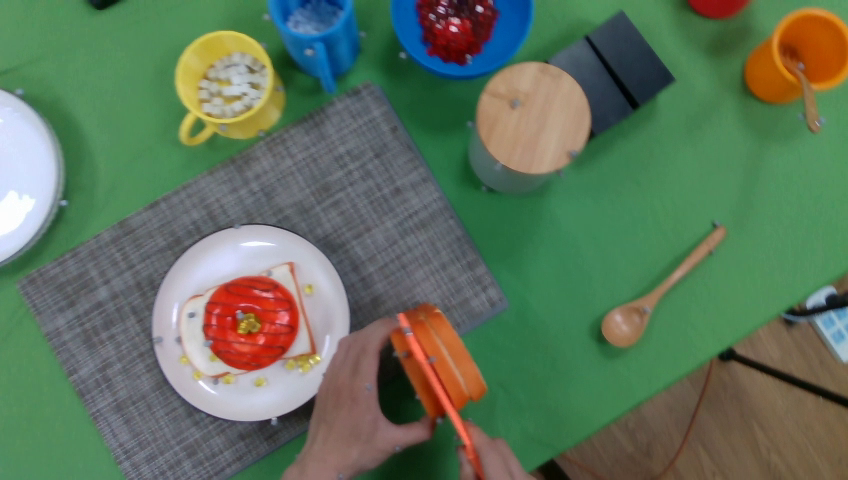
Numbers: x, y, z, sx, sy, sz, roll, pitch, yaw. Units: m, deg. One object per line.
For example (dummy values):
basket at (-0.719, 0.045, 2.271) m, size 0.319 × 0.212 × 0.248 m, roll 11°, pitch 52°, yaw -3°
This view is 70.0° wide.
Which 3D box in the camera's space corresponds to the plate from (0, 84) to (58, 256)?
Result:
plate at (-0.498, -0.073, 0.654) m, size 0.208 × 0.039 × 0.207 m, roll 0°, pitch 86°, yaw -2°

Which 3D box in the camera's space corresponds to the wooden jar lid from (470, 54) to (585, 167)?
wooden jar lid at (0.097, -0.121, 0.573) m, size 0.108 × 0.020 × 0.108 m, roll 0°, pitch 87°, yaw -5°

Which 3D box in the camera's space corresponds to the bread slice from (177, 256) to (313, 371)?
bread slice at (-0.196, 0.085, 0.653) m, size 0.131 × 0.019 × 0.104 m, roll -18°, pitch 86°, yaw -6°

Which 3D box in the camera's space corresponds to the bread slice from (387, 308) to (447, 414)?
bread slice at (-0.006, 0.119, 0.611) m, size 0.018 × 0.134 × 0.106 m, roll -28°, pitch 84°, yaw 1°

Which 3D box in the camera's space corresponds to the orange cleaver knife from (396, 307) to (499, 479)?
orange cleaver knife at (0.027, 0.156, 0.561) m, size 0.012 × 0.077 × 0.212 m, roll -29°, pitch 105°, yaw -2°

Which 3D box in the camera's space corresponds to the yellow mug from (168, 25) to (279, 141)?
yellow mug at (-0.224, -0.160, 0.657) m, size 0.100 × 0.064 × 0.131 m, roll 37°, pitch 86°, yaw 2°

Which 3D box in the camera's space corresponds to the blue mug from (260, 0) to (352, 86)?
blue mug at (-0.119, -0.223, 0.646) m, size 0.082 × 0.106 × 0.116 m, roll -11°, pitch 86°, yaw -3°

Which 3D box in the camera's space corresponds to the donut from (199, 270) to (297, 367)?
donut at (-0.180, 0.080, 0.623) m, size 0.099 × 0.048 × 0.099 m, roll 0°, pitch 86°, yaw -6°

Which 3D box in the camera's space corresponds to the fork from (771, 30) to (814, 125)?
fork at (0.390, -0.176, 0.639) m, size 0.028 × 0.019 × 0.206 m, roll 32°, pitch 41°, yaw -6°

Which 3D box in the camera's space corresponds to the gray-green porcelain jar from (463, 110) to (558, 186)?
gray-green porcelain jar at (0.096, -0.115, 0.635) m, size 0.106 × 0.126 × 0.105 m, roll 0°, pitch 85°, yaw -2°

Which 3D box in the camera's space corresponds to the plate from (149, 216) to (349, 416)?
plate at (-0.183, 0.080, 0.651) m, size 0.209 × 0.038 × 0.208 m, roll 0°, pitch 86°, yaw -2°

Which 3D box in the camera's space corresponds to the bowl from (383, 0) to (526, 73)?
bowl at (0.031, -0.249, 0.667) m, size 0.151 × 0.077 × 0.151 m, roll 0°, pitch 86°, yaw -2°

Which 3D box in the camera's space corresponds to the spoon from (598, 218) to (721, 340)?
spoon at (0.270, 0.041, 0.682) m, size 0.193 × 0.022 × 0.041 m, roll -43°, pitch 70°, yaw -4°
